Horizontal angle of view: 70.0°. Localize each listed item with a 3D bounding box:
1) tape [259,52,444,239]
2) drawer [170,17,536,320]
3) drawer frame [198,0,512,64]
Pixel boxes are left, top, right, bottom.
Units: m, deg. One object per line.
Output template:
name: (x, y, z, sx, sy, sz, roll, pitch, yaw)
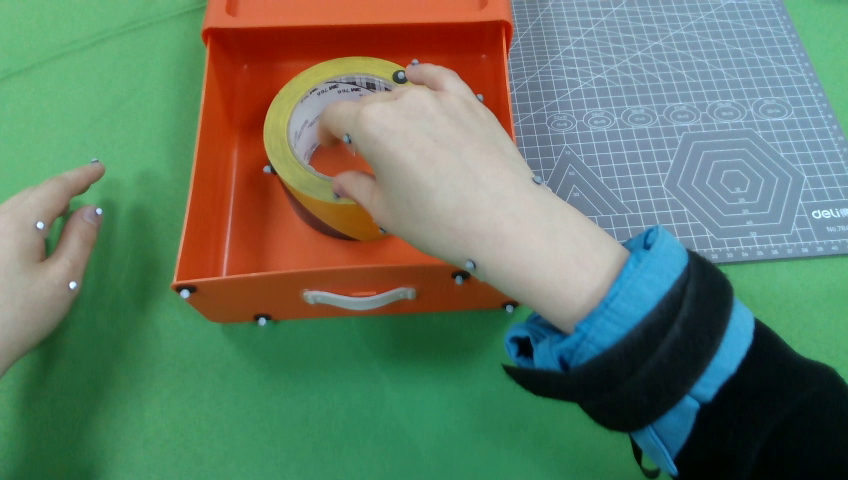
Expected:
tape: (-0.044, -0.061, 0.396, 0.117, 0.053, 0.116, 0, 66, 1)
drawer: (-0.041, -0.059, 0.388, 0.194, 0.074, 0.210, -3, 64, 0)
drawer frame: (-0.047, -0.211, 0.458, 0.202, 0.083, 0.211, -3, 63, 0)
